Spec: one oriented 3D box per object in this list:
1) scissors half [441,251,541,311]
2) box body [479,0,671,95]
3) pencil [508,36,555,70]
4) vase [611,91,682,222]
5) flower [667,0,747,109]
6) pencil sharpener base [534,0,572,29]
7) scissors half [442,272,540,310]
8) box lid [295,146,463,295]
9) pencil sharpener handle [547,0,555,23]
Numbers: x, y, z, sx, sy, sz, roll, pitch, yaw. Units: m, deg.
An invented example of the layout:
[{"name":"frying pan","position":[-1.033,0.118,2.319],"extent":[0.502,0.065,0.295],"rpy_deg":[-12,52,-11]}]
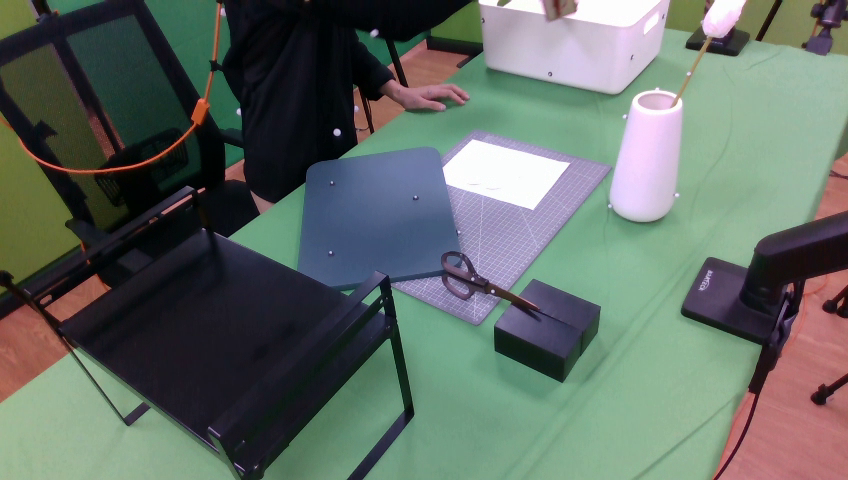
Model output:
[{"name":"scissors half","position":[0.087,0.056,0.824],"extent":[0.173,0.040,0.013],"rpy_deg":[29,44,36]},{"name":"box body","position":[0.339,-0.480,1.381],"extent":[0.361,0.161,0.255],"rpy_deg":[22,48,30]},{"name":"pencil","position":[0.262,-0.454,1.470],"extent":[0.012,0.012,0.194],"rpy_deg":[27,53,34]},{"name":"vase","position":[0.348,-0.125,0.935],"extent":[0.098,0.201,0.097],"rpy_deg":[-3,40,3]},{"name":"flower","position":[0.354,-0.187,0.879],"extent":[0.038,0.362,0.044],"rpy_deg":[30,48,14]},{"name":"pencil sharpener base","position":[0.238,-0.463,1.136],"extent":[0.061,0.108,0.076],"rpy_deg":[-10,51,18]},{"name":"scissors half","position":[0.089,0.074,0.832],"extent":[0.013,0.040,0.173],"rpy_deg":[-24,23,-38]},{"name":"box lid","position":[-0.084,-0.048,1.052],"extent":[0.263,0.015,0.369],"rpy_deg":[-9,40,0]},{"name":"pencil sharpener handle","position":[0.229,-0.430,1.096],"extent":[0.036,0.068,0.030],"rpy_deg":[-6,52,12]}]
